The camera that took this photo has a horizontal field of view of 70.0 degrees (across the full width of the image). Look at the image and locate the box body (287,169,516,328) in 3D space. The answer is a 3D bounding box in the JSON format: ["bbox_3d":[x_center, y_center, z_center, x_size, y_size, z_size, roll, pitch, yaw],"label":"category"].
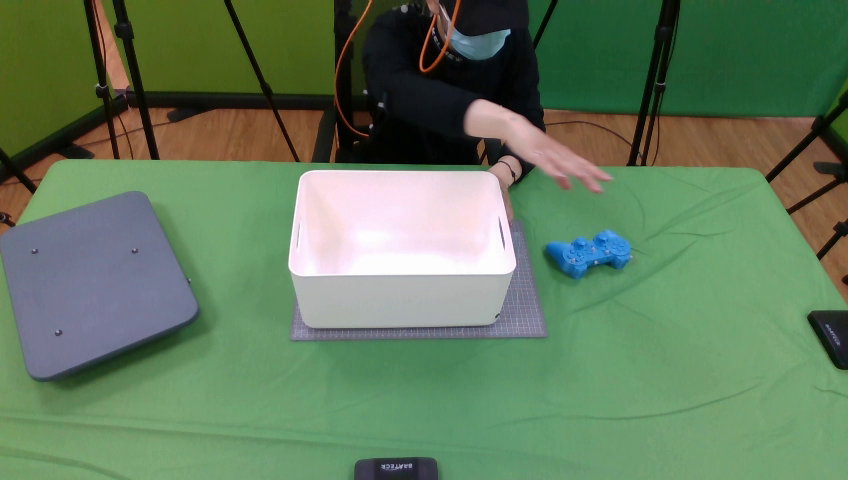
[{"bbox_3d":[-0.040,0.015,1.075,0.364,0.161,0.252,-1,47,-4],"label":"box body"}]

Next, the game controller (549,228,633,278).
[{"bbox_3d":[0.332,0.016,1.182,0.155,0.052,0.096,-12,53,-13],"label":"game controller"}]

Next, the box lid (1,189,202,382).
[{"bbox_3d":[-0.565,0.058,1.050,0.263,0.015,0.369,-23,52,-23],"label":"box lid"}]
